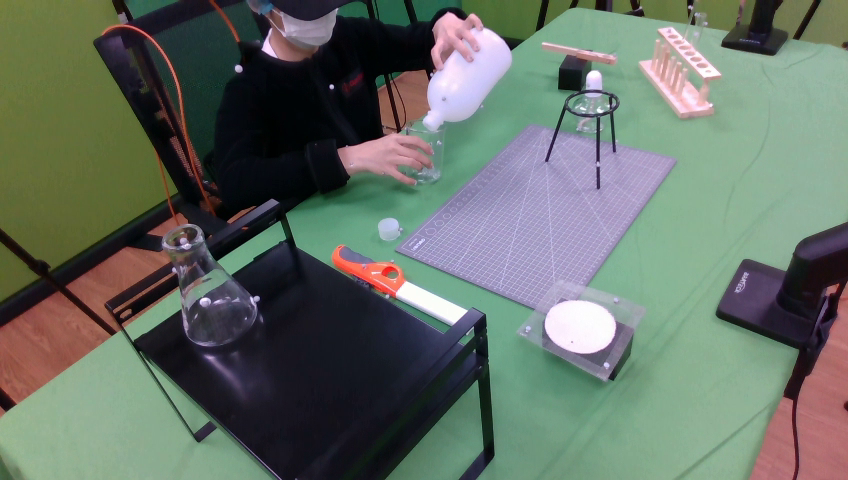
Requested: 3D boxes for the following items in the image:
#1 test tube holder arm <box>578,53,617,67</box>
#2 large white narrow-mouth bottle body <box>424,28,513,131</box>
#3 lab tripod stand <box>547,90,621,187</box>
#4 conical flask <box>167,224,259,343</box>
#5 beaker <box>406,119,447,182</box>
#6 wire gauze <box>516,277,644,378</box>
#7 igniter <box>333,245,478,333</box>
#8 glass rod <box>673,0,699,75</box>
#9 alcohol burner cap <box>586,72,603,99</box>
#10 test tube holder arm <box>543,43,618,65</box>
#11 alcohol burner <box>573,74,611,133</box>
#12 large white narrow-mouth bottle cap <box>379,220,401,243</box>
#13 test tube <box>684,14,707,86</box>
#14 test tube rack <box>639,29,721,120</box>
[{"bbox_3d":[0.376,-0.393,1.314,0.087,0.015,0.010,26,51,32],"label":"test tube holder arm"},{"bbox_3d":[0.068,-0.277,1.085,0.101,0.102,0.194,33,82,38],"label":"large white narrow-mouth bottle body"},{"bbox_3d":[0.289,-0.184,1.062,0.148,0.132,0.147,-6,41,6],"label":"lab tripod stand"},{"bbox_3d":[-0.220,0.041,0.613,0.075,0.122,0.075,-5,40,4],"label":"conical flask"},{"bbox_3d":[0.005,-0.164,1.108,0.073,0.100,0.084,19,32,26],"label":"beaker"},{"bbox_3d":[0.197,0.103,0.765,0.124,0.011,0.122,23,50,31],"label":"wire gauze"},{"bbox_3d":[-0.038,0.068,0.905,0.274,0.025,0.057,24,60,32],"label":"igniter"},{"bbox_3d":[0.541,-0.427,1.246,0.008,0.200,0.008,0,48,1],"label":"glass rod"},{"bbox_3d":[0.325,-0.297,1.154,0.034,0.048,0.033,-8,35,6],"label":"alcohol burner cap"},{"bbox_3d":[0.345,-0.413,1.341,0.177,0.015,0.013,25,50,31],"label":"test tube holder arm"},{"bbox_3d":[0.330,-0.270,1.176,0.078,0.119,0.077,-4,43,4],"label":"alcohol burner"},{"bbox_3d":[-0.057,-0.015,1.012,0.038,0.024,0.037,-4,40,4],"label":"large white narrow-mouth bottle cap"},{"bbox_3d":[0.541,-0.379,1.216,0.017,0.151,0.017,-2,44,2],"label":"test tube"},{"bbox_3d":[0.527,-0.351,1.262,0.067,0.085,0.241,-8,40,1],"label":"test tube rack"}]
